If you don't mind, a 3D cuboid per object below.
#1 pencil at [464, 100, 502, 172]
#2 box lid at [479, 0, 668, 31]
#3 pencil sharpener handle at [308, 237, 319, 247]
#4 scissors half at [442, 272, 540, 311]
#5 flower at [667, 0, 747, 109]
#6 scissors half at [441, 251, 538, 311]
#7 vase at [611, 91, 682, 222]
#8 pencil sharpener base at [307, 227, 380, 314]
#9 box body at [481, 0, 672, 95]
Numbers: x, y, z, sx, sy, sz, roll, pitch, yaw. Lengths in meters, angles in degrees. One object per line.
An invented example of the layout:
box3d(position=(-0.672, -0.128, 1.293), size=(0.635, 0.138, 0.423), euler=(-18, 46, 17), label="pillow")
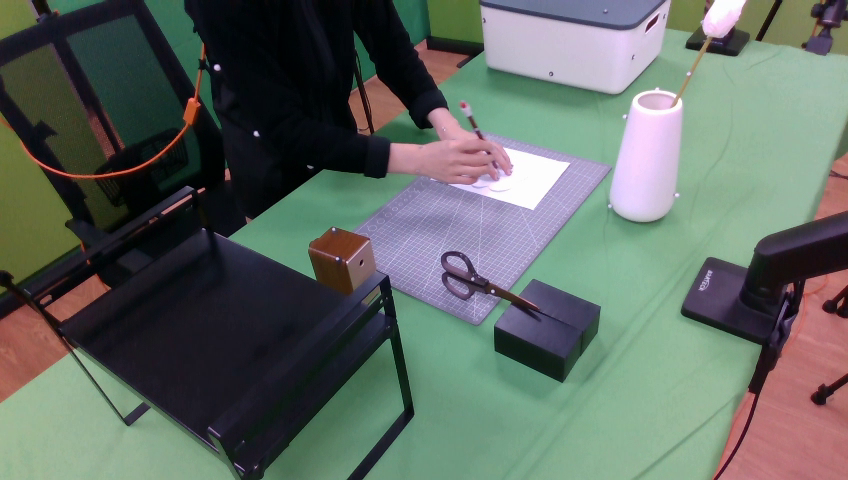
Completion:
box3d(position=(0.099, -0.162, 0.974), size=(0.012, 0.195, 0.012), euler=(-11, 60, 19), label="pencil")
box3d(position=(0.335, -0.536, 1.331), size=(0.368, 0.015, 0.264), euler=(23, 49, 30), label="box lid")
box3d(position=(-0.159, 0.017, 0.892), size=(0.030, 0.068, 0.036), euler=(18, 61, 28), label="pencil sharpener handle")
box3d(position=(0.089, 0.074, 0.832), size=(0.013, 0.040, 0.173), euler=(-24, 23, -38), label="scissors half")
box3d(position=(0.354, -0.187, 0.879), size=(0.038, 0.362, 0.044), euler=(31, 48, 14), label="flower")
box3d(position=(0.087, 0.056, 0.824), size=(0.013, 0.040, 0.173), euler=(-30, 44, -35), label="scissors half")
box3d(position=(0.348, -0.125, 0.935), size=(0.098, 0.201, 0.097), euler=(-3, 40, 3), label="vase")
box3d(position=(-0.116, 0.043, 0.875), size=(0.076, 0.107, 0.061), euler=(18, 47, 27), label="pencil sharpener base")
box3d(position=(0.341, -0.480, 1.381), size=(0.361, 0.161, 0.255), euler=(22, 48, 30), label="box body")
